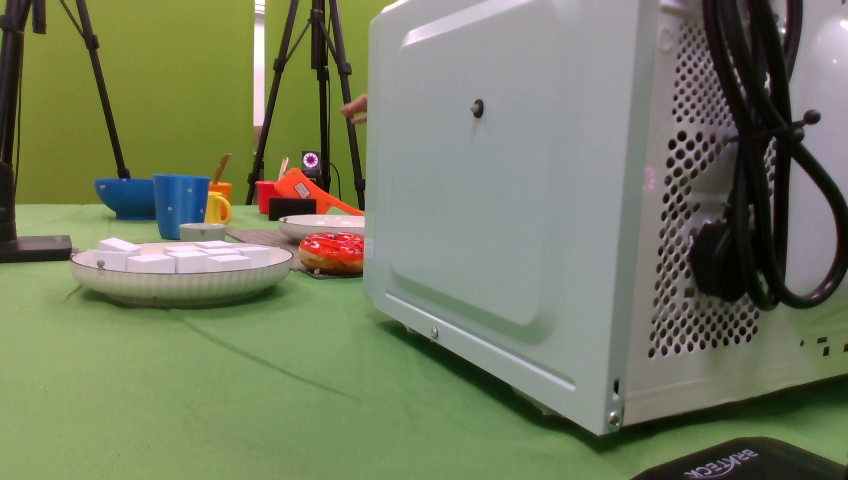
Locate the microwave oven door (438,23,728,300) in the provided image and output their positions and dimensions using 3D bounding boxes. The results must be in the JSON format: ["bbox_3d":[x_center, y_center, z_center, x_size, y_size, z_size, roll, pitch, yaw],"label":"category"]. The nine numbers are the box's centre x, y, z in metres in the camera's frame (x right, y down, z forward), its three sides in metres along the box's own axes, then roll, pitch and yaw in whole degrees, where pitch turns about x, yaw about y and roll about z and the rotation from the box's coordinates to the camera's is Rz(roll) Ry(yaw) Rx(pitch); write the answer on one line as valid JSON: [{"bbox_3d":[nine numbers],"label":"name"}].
[{"bbox_3d":[0.181,-0.072,0.621,0.358,0.243,0.039,-2,8,-29],"label":"microwave oven door"}]

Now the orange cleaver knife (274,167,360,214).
[{"bbox_3d":[-0.238,-0.091,1.381,0.212,0.077,0.012,31,0,-19],"label":"orange cleaver knife"}]

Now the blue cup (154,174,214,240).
[{"bbox_3d":[-0.391,-0.053,0.978,0.093,0.100,0.092,3,6,0],"label":"blue cup"}]

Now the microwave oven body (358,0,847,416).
[{"bbox_3d":[0.211,-0.047,0.474,0.444,0.260,0.324,-1,7,-28],"label":"microwave oven body"}]

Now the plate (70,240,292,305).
[{"bbox_3d":[-0.242,0.031,0.618,0.208,0.039,0.207,2,8,0],"label":"plate"}]

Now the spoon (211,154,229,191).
[{"bbox_3d":[-0.431,-0.115,1.253,0.042,0.193,0.021,-3,54,-33],"label":"spoon"}]

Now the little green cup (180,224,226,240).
[{"bbox_3d":[-0.309,-0.001,0.846,0.061,0.038,0.061,2,8,0],"label":"little green cup"}]

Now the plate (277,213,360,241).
[{"bbox_3d":[-0.135,-0.017,0.993,0.209,0.038,0.209,2,8,0],"label":"plate"}]

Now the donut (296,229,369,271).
[{"bbox_3d":[-0.106,0.014,0.739,0.099,0.048,0.099,4,8,0],"label":"donut"}]

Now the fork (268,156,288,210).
[{"bbox_3d":[-0.360,-0.144,1.507,0.028,0.018,0.207,1,49,0],"label":"fork"}]

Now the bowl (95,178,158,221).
[{"bbox_3d":[-0.576,-0.081,1.217,0.151,0.077,0.151,3,8,0],"label":"bowl"}]

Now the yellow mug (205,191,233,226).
[{"bbox_3d":[-0.415,-0.057,1.132,0.130,0.064,0.100,6,8,16],"label":"yellow mug"}]

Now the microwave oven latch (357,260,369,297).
[{"bbox_3d":[-0.019,0.033,0.530,0.079,0.029,0.030,-1,7,-26],"label":"microwave oven latch"}]
